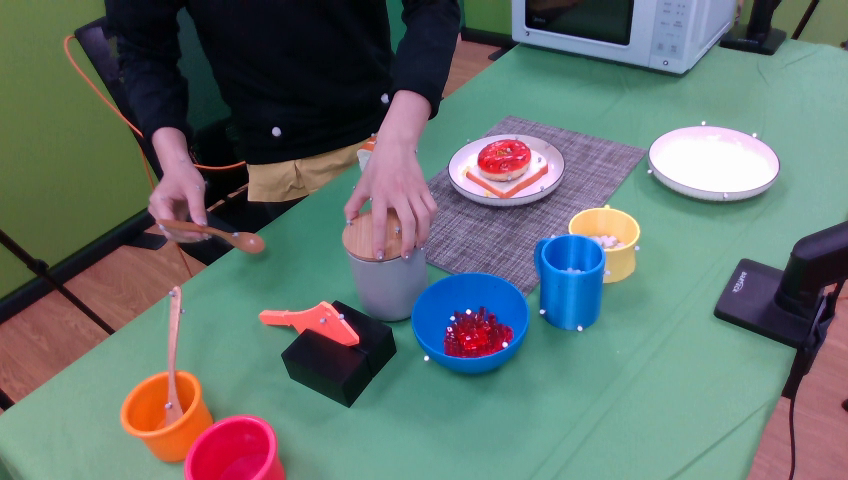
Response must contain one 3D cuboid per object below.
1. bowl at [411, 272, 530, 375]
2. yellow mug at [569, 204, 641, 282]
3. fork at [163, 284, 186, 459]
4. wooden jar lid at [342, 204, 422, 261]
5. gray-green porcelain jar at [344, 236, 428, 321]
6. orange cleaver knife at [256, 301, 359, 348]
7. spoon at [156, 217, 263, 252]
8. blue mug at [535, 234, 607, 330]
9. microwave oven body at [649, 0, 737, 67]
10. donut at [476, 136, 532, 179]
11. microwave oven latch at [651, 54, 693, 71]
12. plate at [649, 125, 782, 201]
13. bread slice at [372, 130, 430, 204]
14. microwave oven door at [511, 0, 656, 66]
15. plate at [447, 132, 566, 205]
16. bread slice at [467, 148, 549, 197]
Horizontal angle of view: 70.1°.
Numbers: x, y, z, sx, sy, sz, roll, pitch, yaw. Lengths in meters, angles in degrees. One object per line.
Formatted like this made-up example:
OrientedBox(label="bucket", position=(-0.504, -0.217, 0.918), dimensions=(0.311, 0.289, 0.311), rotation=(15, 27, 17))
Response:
OrientedBox(label="bowl", position=(0.061, 0.120, 0.780), dimensions=(0.151, 0.077, 0.150), rotation=(-4, 40, 4))
OrientedBox(label="yellow mug", position=(0.268, -0.005, 0.904), dimensions=(0.099, 0.064, 0.130), rotation=(7, 41, 15))
OrientedBox(label="fork", position=(-0.302, 0.157, 0.733), dimensions=(0.028, 0.019, 0.207), rotation=(-3, 84, 13))
OrientedBox(label="wooden jar lid", position=(-0.055, -0.007, 0.807), dimensions=(0.108, 0.021, 0.108), rotation=(-5, 41, 5))
OrientedBox(label="gray-green porcelain jar", position=(-0.049, 0.042, 0.849), dimensions=(0.106, 0.127, 0.105), rotation=(-4, 41, 4))
OrientedBox(label="orange cleaver knife", position=(-0.160, 0.115, 0.813), dimensions=(0.210, 0.077, 0.012), rotation=(-9, 29, 48))
OrientedBox(label="spoon", position=(-0.305, -0.012, 0.877), dimensions=(0.021, 0.195, 0.041), rotation=(-33, 67, 15))
OrientedBox(label="blue mug", position=(0.190, 0.048, 0.824), dimensions=(0.082, 0.106, 0.115), rotation=(-26, 44, -21))
OrientedBox(label="microwave oven body", position=(0.475, -0.602, 1.411), dimensions=(0.438, 0.261, 0.327), rotation=(23, 50, 32))
OrientedBox(label="donut", position=(0.140, -0.146, 1.058), dimensions=(0.099, 0.048, 0.098), rotation=(-6, 41, 6))
OrientedBox(label="microwave oven latch", position=(0.531, -0.386, 1.301), dimensions=(0.078, 0.029, 0.030), rotation=(26, 51, 33))
OrientedBox(label="plate", position=(0.493, -0.127, 1.036), dimensions=(0.207, 0.039, 0.206), rotation=(-4, 41, 4))
OrientedBox(label="bread slice", position=(-0.043, -0.126, 1.038), dimensions=(0.106, 0.135, 0.018), rotation=(30, 61, 33))
OrientedBox(label="microwave oven door", position=(0.351, -0.539, 1.348), dimensions=(0.353, 0.245, 0.039), rotation=(24, 50, 31))
OrientedBox(label="plate", position=(0.146, -0.124, 1.076), dimensions=(0.209, 0.038, 0.208), rotation=(-4, 41, 4))
OrientedBox(label="bread slice", position=(0.156, -0.128, 1.085), dimensions=(0.132, 0.019, 0.104), rotation=(-35, 48, -23))
